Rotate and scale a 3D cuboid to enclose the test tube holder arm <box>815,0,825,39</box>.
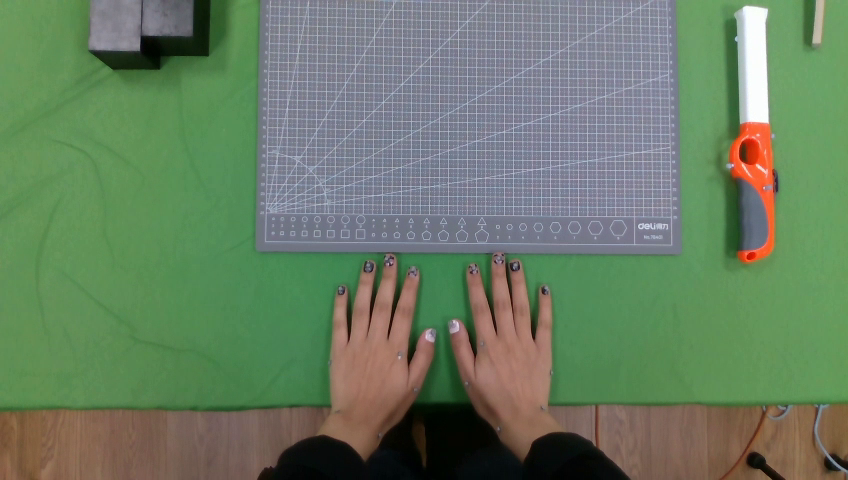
[{"bbox_3d":[0.438,-0.312,0.670,0.013,0.015,0.178,-1,86,32],"label":"test tube holder arm"}]

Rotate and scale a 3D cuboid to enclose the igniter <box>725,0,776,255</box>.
[{"bbox_3d":[0.351,-0.121,0.652,0.057,0.025,0.276,1,87,-13],"label":"igniter"}]
